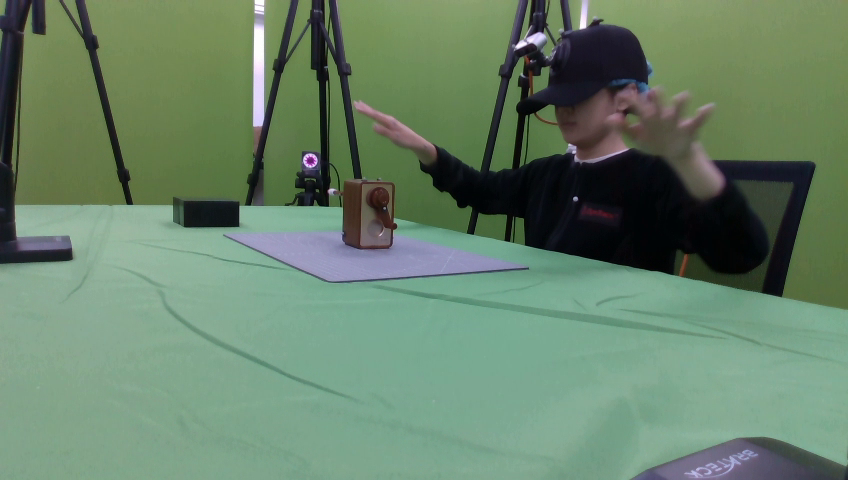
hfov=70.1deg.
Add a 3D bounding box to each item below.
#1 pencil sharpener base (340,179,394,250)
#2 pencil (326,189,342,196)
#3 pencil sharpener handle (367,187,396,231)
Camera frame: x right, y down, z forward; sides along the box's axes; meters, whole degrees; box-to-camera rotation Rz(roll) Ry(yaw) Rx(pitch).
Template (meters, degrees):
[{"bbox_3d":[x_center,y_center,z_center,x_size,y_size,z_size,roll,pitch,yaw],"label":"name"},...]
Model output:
[{"bbox_3d":[-0.091,-0.041,0.959,0.061,0.107,0.076,-1,9,-30],"label":"pencil sharpener base"},{"bbox_3d":[-0.129,-0.077,1.027,0.012,0.012,0.193,-1,8,-29],"label":"pencil"},{"bbox_3d":[-0.060,-0.047,0.916,0.036,0.068,0.030,-22,19,-25],"label":"pencil sharpener handle"}]
